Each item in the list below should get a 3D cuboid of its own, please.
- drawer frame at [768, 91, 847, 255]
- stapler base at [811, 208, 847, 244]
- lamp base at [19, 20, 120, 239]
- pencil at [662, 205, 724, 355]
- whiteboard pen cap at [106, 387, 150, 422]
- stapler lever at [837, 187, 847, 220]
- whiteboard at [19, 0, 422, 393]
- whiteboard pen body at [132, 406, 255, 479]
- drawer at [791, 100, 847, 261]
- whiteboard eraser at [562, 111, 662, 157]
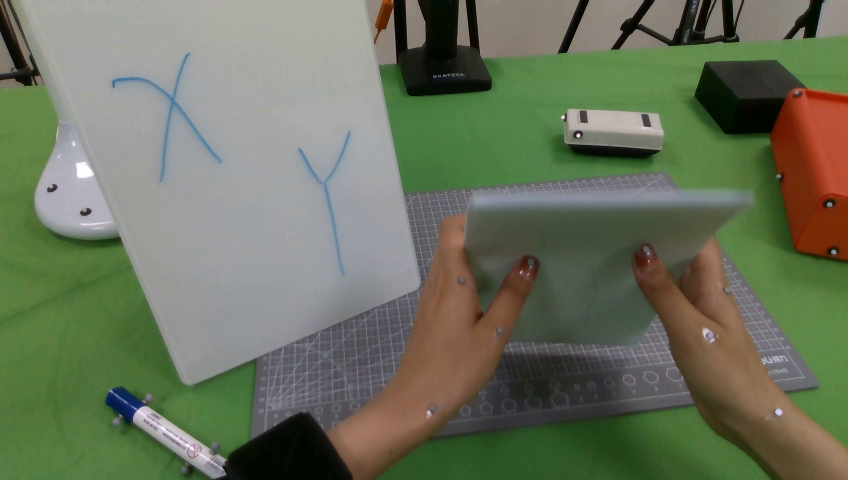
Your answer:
[{"bbox_3d":[0.488,-0.062,0.633,0.201,0.083,0.212,10,42,11],"label":"drawer frame"},{"bbox_3d":[0.463,-0.013,0.605,0.130,0.024,0.041,10,57,9],"label":"stapler base"},{"bbox_3d":[-0.341,-0.118,0.607,0.178,0.182,0.160,22,46,26],"label":"lamp base"},{"bbox_3d":[0.254,0.031,0.576,0.012,0.012,0.192,2,43,1],"label":"pencil"},{"bbox_3d":[-0.224,0.126,0.460,0.033,0.018,0.018,21,46,25],"label":"whiteboard pen cap"},{"bbox_3d":[0.463,-0.028,0.584,0.118,0.040,0.026,10,57,8],"label":"stapler lever"},{"bbox_3d":[-0.151,-0.072,0.509,0.217,0.308,0.142,-21,27,-21],"label":"whiteboard"},{"bbox_3d":[-0.175,0.147,0.437,0.140,0.017,0.017,22,46,23],"label":"whiteboard pen body"},{"bbox_3d":[0.487,-0.059,0.631,0.194,0.074,0.210,11,42,12],"label":"drawer"},{"bbox_3d":[0.225,-0.127,0.733,0.112,0.042,0.055,5,44,5],"label":"whiteboard eraser"}]
